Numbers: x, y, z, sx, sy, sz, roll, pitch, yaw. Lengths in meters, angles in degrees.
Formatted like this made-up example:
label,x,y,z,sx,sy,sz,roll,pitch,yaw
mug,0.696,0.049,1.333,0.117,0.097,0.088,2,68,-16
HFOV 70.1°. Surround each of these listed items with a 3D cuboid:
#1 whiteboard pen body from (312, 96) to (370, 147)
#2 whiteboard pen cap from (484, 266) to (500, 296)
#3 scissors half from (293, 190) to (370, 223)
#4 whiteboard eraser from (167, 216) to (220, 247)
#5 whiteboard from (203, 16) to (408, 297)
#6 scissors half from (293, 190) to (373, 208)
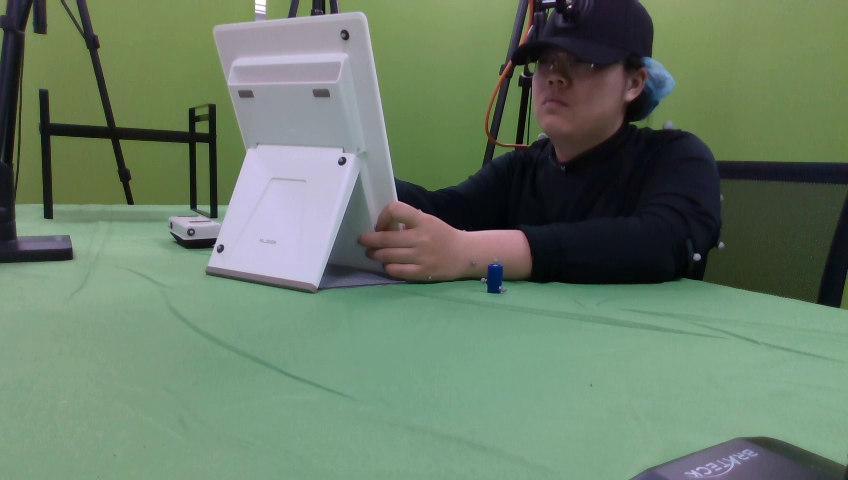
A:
label,x,y,z,sx,sy,sz,roll,pitch,yaw
whiteboard pen body,-0.105,-0.150,0.765,0.017,0.017,0.141,6,36,23
whiteboard pen cap,0.075,0.046,0.668,0.018,0.033,0.018,3,7,0
scissors half,-0.205,-0.077,1.338,0.175,0.040,0.013,22,11,-8
whiteboard eraser,-0.350,-0.013,0.920,0.056,0.042,0.112,0,7,-35
whiteboard,-0.166,-0.072,0.669,0.216,0.305,0.144,8,30,30
scissors half,-0.201,-0.096,1.332,0.175,0.040,0.013,5,18,-4
